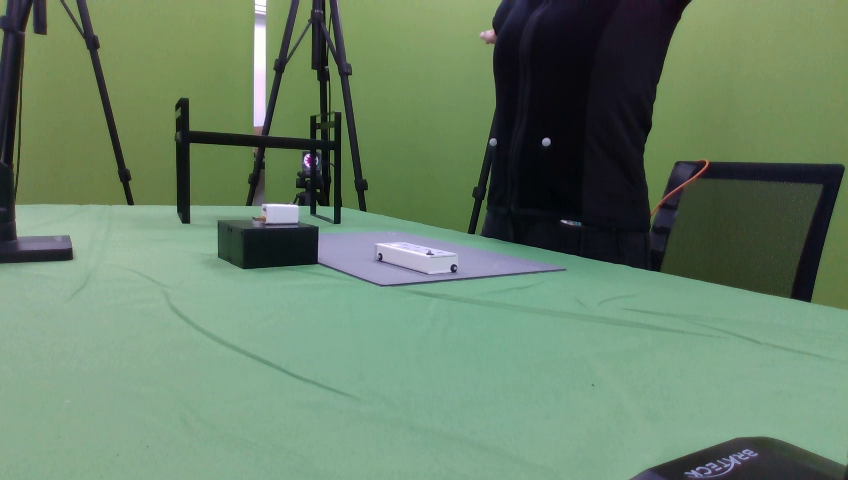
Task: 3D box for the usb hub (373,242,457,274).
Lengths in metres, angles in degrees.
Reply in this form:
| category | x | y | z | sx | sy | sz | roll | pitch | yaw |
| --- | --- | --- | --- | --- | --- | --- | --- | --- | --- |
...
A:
| category | x | y | z | sx | sy | sz | roll | pitch | yaw |
| --- | --- | --- | --- | --- | --- | --- | --- | --- | --- |
| usb hub | -0.014 | 0.021 | 0.799 | 0.050 | 0.025 | 0.124 | -4 | 9 | -37 |

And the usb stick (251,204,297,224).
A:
| category | x | y | z | sx | sy | sz | roll | pitch | yaw |
| --- | --- | --- | --- | --- | --- | --- | --- | --- | --- |
| usb stick | -0.200 | -0.035 | 0.805 | 0.059 | 0.027 | 0.021 | -6 | 13 | -34 |
